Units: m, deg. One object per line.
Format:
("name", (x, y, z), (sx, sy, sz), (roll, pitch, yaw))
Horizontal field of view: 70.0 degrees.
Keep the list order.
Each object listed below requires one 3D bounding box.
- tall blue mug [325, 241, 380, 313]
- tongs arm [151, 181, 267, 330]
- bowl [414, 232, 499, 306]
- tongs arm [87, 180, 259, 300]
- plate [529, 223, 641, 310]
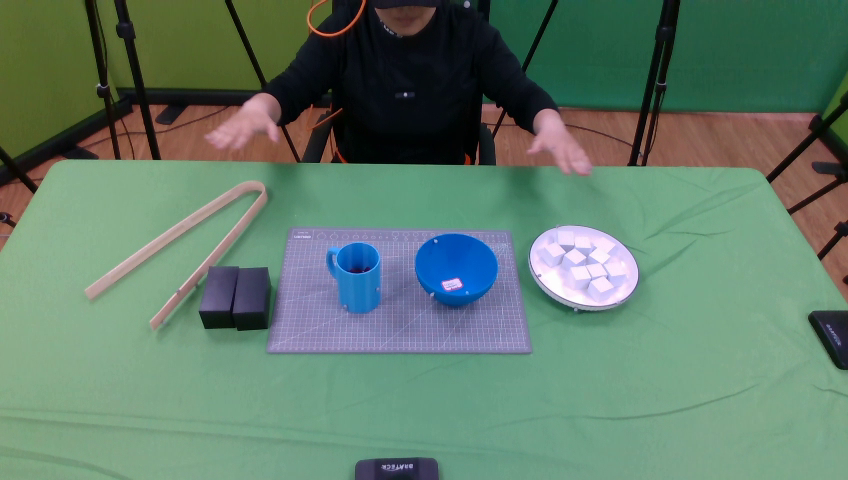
("tall blue mug", (-0.130, 0.063, 1.062), (0.107, 0.108, 0.077), (9, 47, 5))
("tongs arm", (-0.400, 0.014, 1.145), (0.050, 0.027, 0.383), (14, 46, 18))
("bowl", (0.056, 0.065, 1.095), (0.151, 0.077, 0.150), (2, 46, -2))
("tongs arm", (-0.473, -0.011, 1.172), (0.028, 0.028, 0.387), (22, 49, 30))
("plate", (0.303, 0.053, 1.156), (0.209, 0.038, 0.208), (2, 46, -2))
